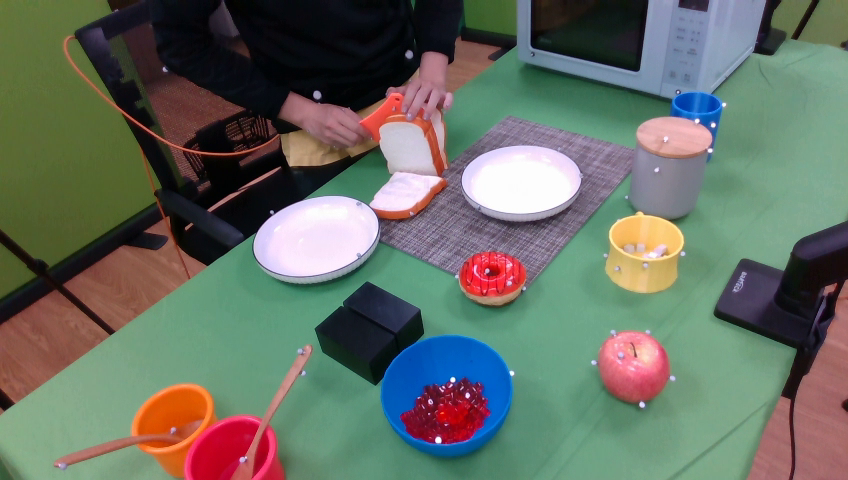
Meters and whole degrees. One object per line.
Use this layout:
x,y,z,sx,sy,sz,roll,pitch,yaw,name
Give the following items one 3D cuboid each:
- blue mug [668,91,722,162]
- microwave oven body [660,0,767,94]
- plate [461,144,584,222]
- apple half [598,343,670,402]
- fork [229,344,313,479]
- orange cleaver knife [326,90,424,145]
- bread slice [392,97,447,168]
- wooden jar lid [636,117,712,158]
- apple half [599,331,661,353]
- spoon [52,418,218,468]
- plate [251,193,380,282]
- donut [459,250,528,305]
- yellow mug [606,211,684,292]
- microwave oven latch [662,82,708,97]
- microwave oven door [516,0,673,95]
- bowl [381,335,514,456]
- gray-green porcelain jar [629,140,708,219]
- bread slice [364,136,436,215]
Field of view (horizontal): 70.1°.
0.474,-0.207,1.079,0.082,0.106,0.116,4,42,13,blue mug
0.473,-0.516,1.313,0.438,0.261,0.327,26,51,34,microwave oven body
0.168,-0.095,1.040,0.207,0.039,0.206,-4,40,4,plate
0.247,0.161,0.710,0.081,0.075,0.053,1,46,5,apple half
-0.173,0.205,0.662,0.028,0.019,0.207,29,94,36,fork
-0.094,-0.213,1.116,0.210,0.078,0.012,-22,47,36,orange cleaver knife
-0.009,-0.198,1.120,0.104,0.132,0.019,5,28,14,bread slice
0.377,-0.151,0.917,0.108,0.021,0.108,-2,42,2,wooden jar lid
0.249,0.134,0.738,0.081,0.081,0.032,-1,46,7,apple half
-0.308,0.220,0.663,0.041,0.195,0.021,21,93,29,spoon
-0.173,-0.001,0.984,0.209,0.038,0.208,-4,40,4,plate
0.100,0.053,0.872,0.099,0.048,0.098,-4,40,4,donut
0.318,0.008,0.883,0.100,0.064,0.130,0,41,9,yellow mug
0.517,-0.298,1.202,0.078,0.029,0.030,27,52,34,microwave oven latch
0.344,-0.458,1.256,0.353,0.245,0.039,26,51,33,microwave oven door
0.029,0.192,0.701,0.151,0.077,0.150,-4,40,4,bowl
0.383,-0.105,0.958,0.106,0.127,0.105,-4,41,4,gray-green porcelain jar
-0.051,-0.109,1.028,0.106,0.018,0.134,17,86,21,bread slice
